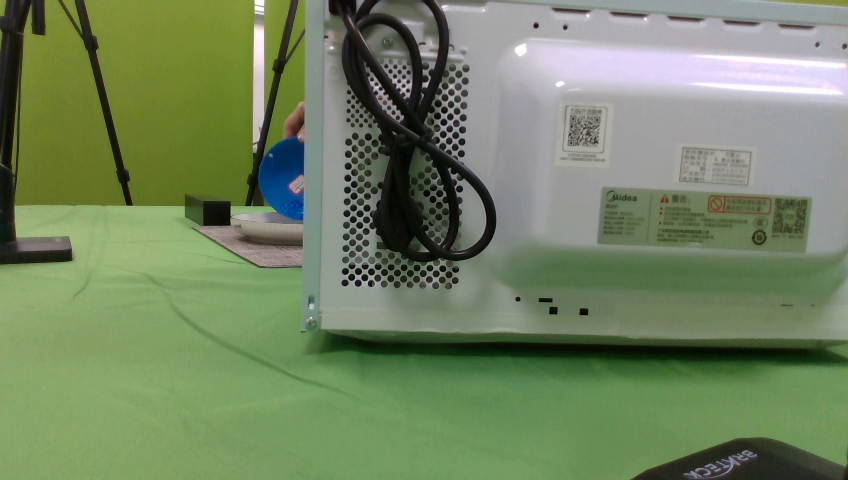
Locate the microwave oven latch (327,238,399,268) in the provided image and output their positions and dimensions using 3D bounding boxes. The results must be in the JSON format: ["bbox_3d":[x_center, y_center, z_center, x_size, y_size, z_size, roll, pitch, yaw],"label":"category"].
[{"bbox_3d":[-0.069,0.015,0.694,0.079,0.029,0.030,3,7,-3],"label":"microwave oven latch"}]

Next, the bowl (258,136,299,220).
[{"bbox_3d":[-0.224,-0.106,1.095,0.152,0.151,0.076,1,-3,-17],"label":"bowl"}]

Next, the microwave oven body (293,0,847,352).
[{"bbox_3d":[0.122,-0.055,0.550,0.442,0.260,0.325,3,7,-5],"label":"microwave oven body"}]

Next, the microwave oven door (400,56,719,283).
[{"bbox_3d":[0.155,-0.077,0.698,0.356,0.243,0.039,2,8,-5],"label":"microwave oven door"}]

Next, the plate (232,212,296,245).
[{"bbox_3d":[-0.214,-0.020,1.018,0.208,0.039,0.207,2,7,0],"label":"plate"}]
